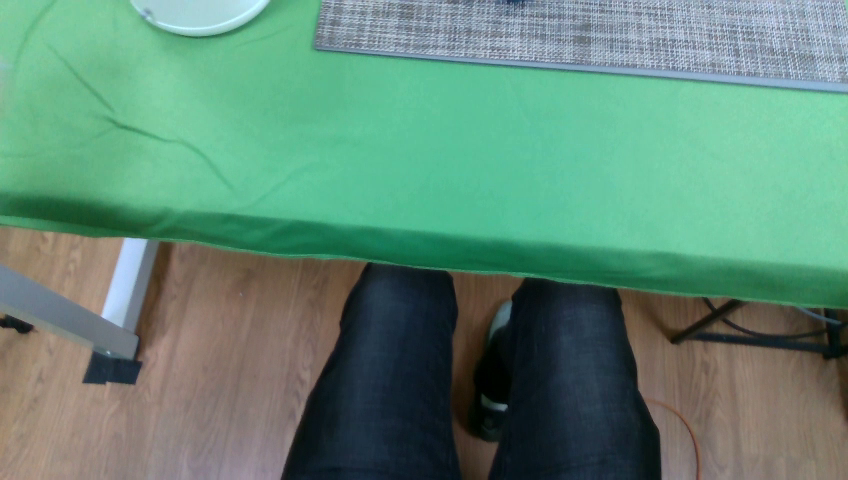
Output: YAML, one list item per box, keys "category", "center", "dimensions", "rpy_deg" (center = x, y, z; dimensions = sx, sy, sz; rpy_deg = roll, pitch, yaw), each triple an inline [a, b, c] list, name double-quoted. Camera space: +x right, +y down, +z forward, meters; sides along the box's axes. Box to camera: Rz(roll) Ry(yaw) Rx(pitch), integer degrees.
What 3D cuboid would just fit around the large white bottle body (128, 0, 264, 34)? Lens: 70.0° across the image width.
- category: "large white bottle body"
  center: [-0.194, -0.263, 0.446]
  dimensions: [0.130, 0.186, 0.129]
  rpy_deg: [0, 68, 0]
